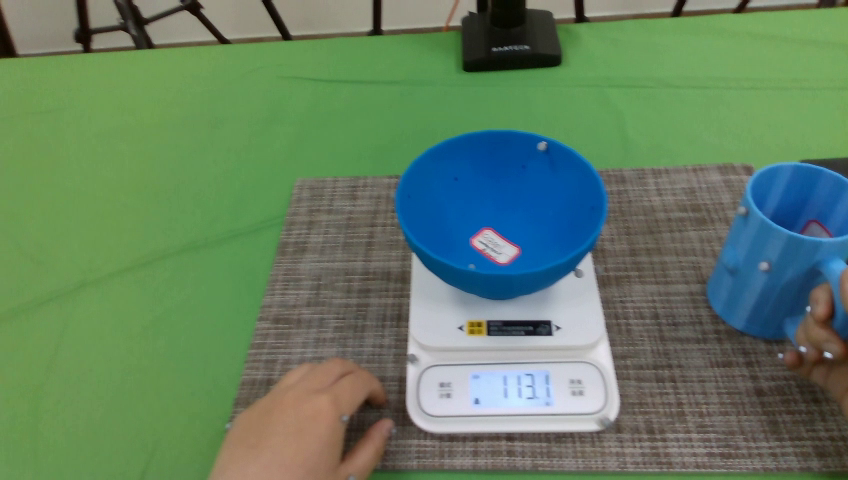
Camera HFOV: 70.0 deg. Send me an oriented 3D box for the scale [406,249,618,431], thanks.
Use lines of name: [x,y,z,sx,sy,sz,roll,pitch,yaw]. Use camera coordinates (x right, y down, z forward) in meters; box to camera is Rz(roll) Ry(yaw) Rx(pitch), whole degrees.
scale: [0.063,0.051,0.475,0.148,0.032,0.199,-2,48,5]

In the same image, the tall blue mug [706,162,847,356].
tall blue mug: [0.267,0.018,0.430,0.078,0.109,0.106,-28,51,-20]

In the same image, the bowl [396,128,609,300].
bowl: [0.057,-0.008,0.457,0.151,0.077,0.150,-2,48,3]
